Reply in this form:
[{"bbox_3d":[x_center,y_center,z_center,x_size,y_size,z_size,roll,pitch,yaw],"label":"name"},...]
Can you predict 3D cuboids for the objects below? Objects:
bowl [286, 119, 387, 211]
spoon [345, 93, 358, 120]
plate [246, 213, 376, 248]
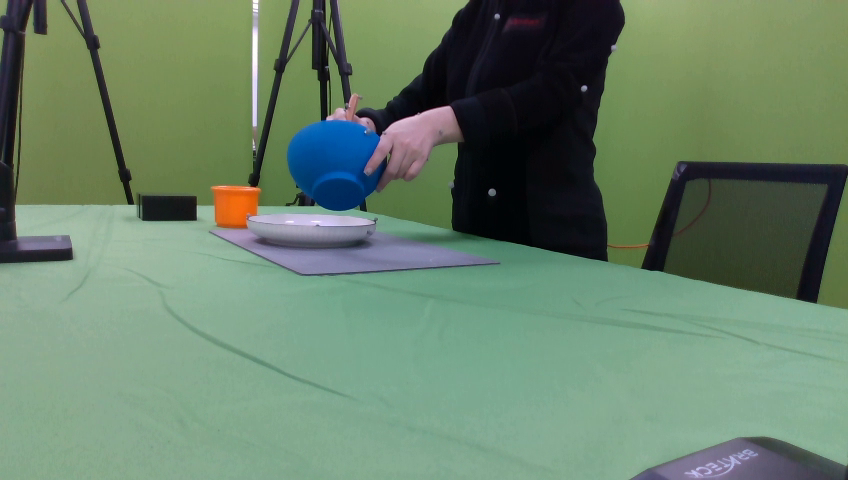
[{"bbox_3d":[-0.127,-0.095,0.884,0.151,0.076,0.151,-5,-36,-3],"label":"bowl"},{"bbox_3d":[-0.134,-0.164,0.989,0.041,0.193,0.021,8,-30,2],"label":"spoon"},{"bbox_3d":[-0.185,-0.017,0.994,0.209,0.038,0.209,3,8,0],"label":"plate"}]
